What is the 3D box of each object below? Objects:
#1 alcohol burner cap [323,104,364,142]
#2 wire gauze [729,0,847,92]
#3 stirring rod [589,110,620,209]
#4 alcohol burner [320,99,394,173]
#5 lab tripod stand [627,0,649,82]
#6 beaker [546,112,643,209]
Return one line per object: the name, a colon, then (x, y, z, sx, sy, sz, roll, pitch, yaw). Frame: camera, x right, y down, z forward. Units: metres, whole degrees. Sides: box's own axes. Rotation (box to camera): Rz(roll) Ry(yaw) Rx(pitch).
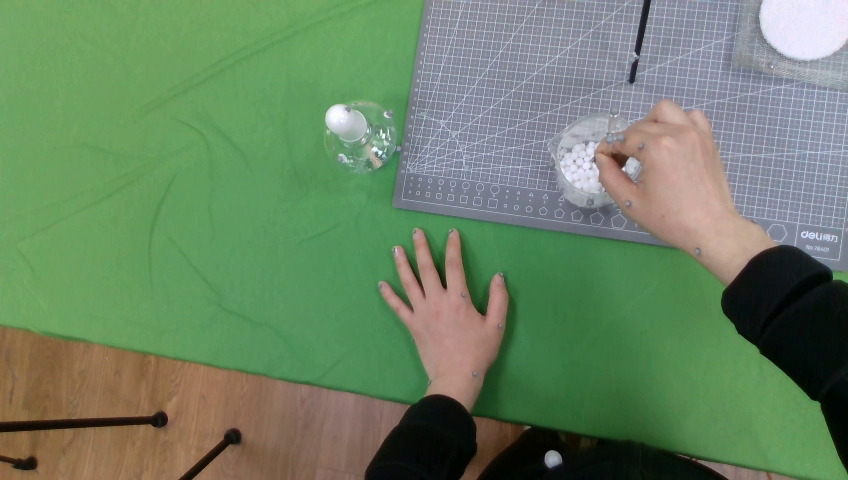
alcohol burner cap: (-0.079, -0.113, 0.575, 0.034, 0.048, 0.034, 0, 89, 10)
wire gauze: (0.370, -0.214, 0.590, 0.125, 0.011, 0.121, 13, 88, 8)
stirring rod: (0.149, -0.061, 0.505, 0.014, 0.177, 0.006, -11, 69, 9)
alcohol burner: (-0.072, -0.110, 0.610, 0.078, 0.119, 0.077, -1, 84, 9)
lab tripod stand: (0.198, -0.238, 0.558, 0.148, 0.132, 0.148, 0, 87, 9)
beaker: (0.156, -0.070, 0.572, 0.084, 0.100, 0.074, 15, 88, 12)
